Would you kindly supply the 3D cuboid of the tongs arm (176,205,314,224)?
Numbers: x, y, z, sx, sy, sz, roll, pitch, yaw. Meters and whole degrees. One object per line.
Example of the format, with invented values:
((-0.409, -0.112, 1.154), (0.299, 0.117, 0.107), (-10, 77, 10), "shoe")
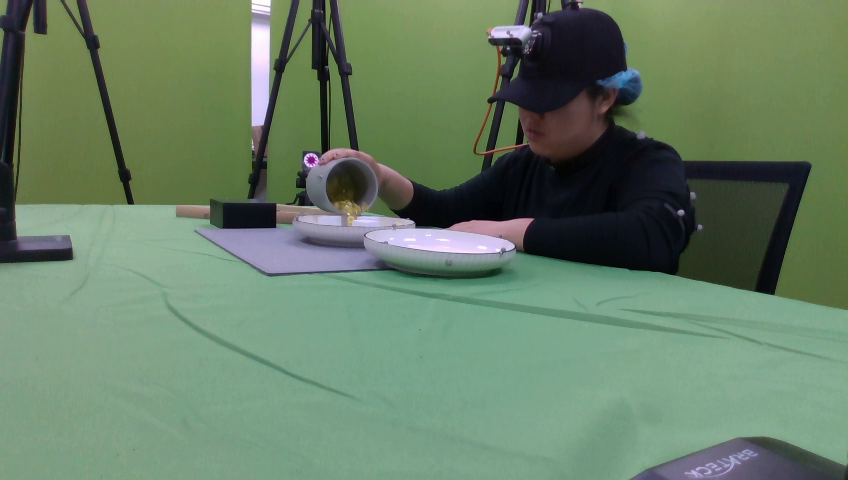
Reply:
((-0.333, -0.051, 1.273), (0.387, 0.028, 0.028), (4, 5, 4), "tongs arm")

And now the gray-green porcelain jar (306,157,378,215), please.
((-0.159, -0.102, 1.133), (0.106, 0.106, 0.126), (-1, 6, -28), "gray-green porcelain jar")

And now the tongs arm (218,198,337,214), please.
((-0.313, -0.064, 1.352), (0.384, 0.026, 0.051), (6, 9, 17), "tongs arm")

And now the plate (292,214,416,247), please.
((-0.118, -0.017, 1.024), (0.208, 0.039, 0.207), (3, 8, 0), "plate")

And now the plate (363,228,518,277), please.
((0.021, 0.016, 0.817), (0.209, 0.038, 0.209), (4, 9, 0), "plate")
